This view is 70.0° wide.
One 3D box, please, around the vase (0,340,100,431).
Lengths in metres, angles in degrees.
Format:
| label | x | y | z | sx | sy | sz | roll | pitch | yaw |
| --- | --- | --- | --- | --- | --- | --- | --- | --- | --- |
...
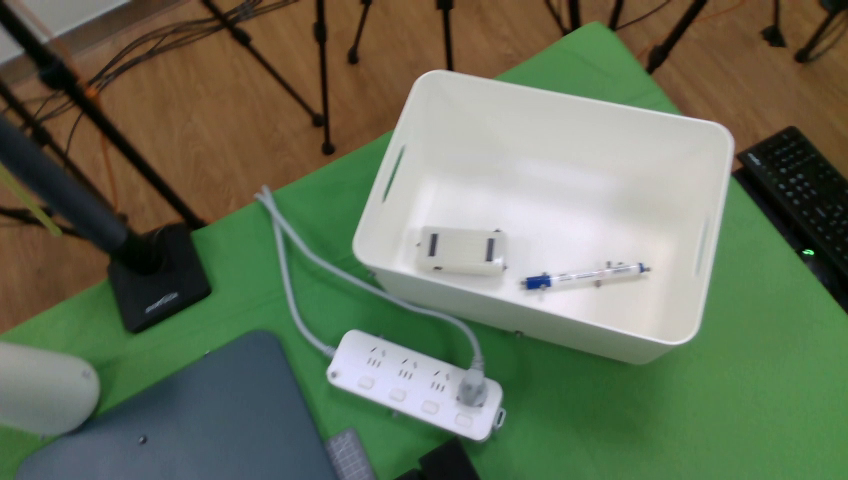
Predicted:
| label | x | y | z | sx | sy | sz | roll | pitch | yaw |
| --- | --- | --- | --- | --- | --- | --- | --- | --- | --- |
| vase | -0.471 | 0.163 | 0.702 | 0.098 | 0.201 | 0.097 | -2 | 66 | 6 |

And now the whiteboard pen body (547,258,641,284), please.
| label | x | y | z | sx | sy | sz | roll | pitch | yaw |
| --- | --- | --- | --- | --- | --- | --- | --- | --- | --- |
| whiteboard pen body | 0.198 | 0.041 | 0.757 | 0.141 | 0.017 | 0.017 | -10 | 67 | 5 |

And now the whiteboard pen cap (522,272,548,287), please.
| label | x | y | z | sx | sy | sz | roll | pitch | yaw |
| --- | --- | --- | --- | --- | --- | --- | --- | --- | --- |
| whiteboard pen cap | 0.140 | 0.048 | 0.762 | 0.033 | 0.018 | 0.018 | -9 | 67 | 5 |

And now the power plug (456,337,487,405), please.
| label | x | y | z | sx | sy | sz | roll | pitch | yaw |
| --- | --- | --- | --- | --- | --- | --- | --- | --- | --- |
| power plug | 0.064 | 0.156 | 0.704 | 0.035 | 0.053 | 0.072 | 27 | 70 | 18 |

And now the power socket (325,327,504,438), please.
| label | x | y | z | sx | sy | sz | roll | pitch | yaw |
| --- | --- | --- | --- | --- | --- | --- | --- | --- | --- |
| power socket | -0.013 | 0.170 | 0.733 | 0.226 | 0.033 | 0.072 | 18 | 71 | 14 |

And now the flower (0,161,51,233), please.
| label | x | y | z | sx | sy | sz | roll | pitch | yaw |
| --- | --- | --- | --- | --- | --- | --- | --- | --- | --- |
| flower | -0.296 | -0.082 | 0.379 | 0.044 | 0.363 | 0.038 | 31 | 63 | 1 |

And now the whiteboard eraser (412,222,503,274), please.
| label | x | y | z | sx | sy | sz | roll | pitch | yaw |
| --- | --- | --- | --- | --- | --- | --- | --- | --- | --- |
| whiteboard eraser | 0.043 | 0.010 | 0.774 | 0.112 | 0.042 | 0.055 | 6 | 71 | 6 |

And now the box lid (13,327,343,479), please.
| label | x | y | z | sx | sy | sz | roll | pitch | yaw |
| --- | --- | --- | --- | --- | --- | --- | --- | --- | --- |
| box lid | -0.299 | 0.293 | 0.731 | 0.371 | 0.015 | 0.261 | -29 | 68 | -5 |

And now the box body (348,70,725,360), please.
| label | x | y | z | sx | sy | sz | roll | pitch | yaw |
| --- | --- | --- | --- | --- | --- | --- | --- | --- | --- |
| box body | 0.129 | -0.024 | 0.721 | 0.363 | 0.161 | 0.253 | 14 | 71 | 12 |
